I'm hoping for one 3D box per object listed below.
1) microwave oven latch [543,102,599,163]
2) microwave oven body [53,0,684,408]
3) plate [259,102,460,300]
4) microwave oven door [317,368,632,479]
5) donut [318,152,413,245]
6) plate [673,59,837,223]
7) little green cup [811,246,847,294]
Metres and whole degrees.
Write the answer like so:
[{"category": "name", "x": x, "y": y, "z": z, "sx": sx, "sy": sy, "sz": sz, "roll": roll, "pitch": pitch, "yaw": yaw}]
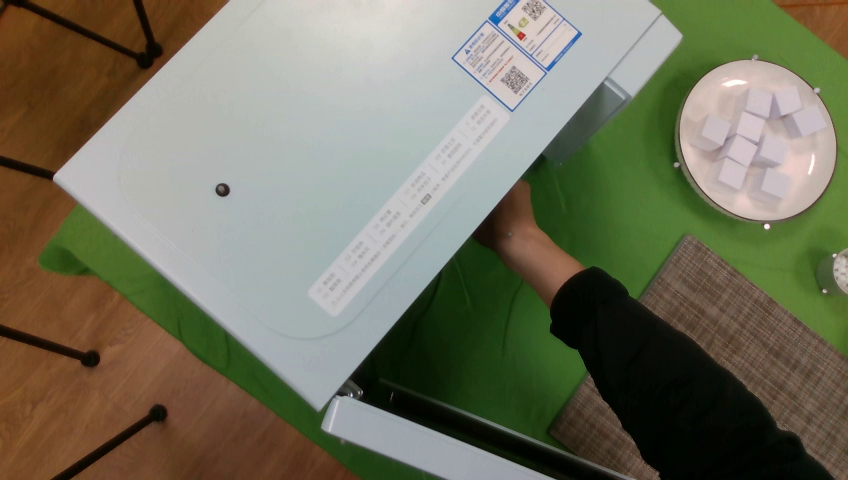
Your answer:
[{"category": "microwave oven latch", "x": 0.172, "y": -0.131, "z": 0.724, "sx": 0.030, "sy": 0.029, "sz": 0.079, "roll": 44, "pitch": 82, "yaw": 1}, {"category": "microwave oven body", "x": -0.048, "y": -0.109, "z": 0.605, "sx": 0.326, "sy": 0.260, "sz": 0.441, "roll": 41, "pitch": 82, "yaw": 1}, {"category": "plate", "x": -0.067, "y": -0.040, "z": 0.641, "sx": 0.209, "sy": 0.038, "sz": 0.208, "roll": 0, "pitch": 85, "yaw": -1}, {"category": "microwave oven door", "x": 0.079, "y": 0.208, "z": 0.574, "sx": 0.356, "sy": 0.244, "sz": 0.039, "roll": 22, "pitch": 81, "yaw": -2}, {"category": "donut", "x": -0.061, "y": -0.042, "z": 0.631, "sx": 0.099, "sy": 0.048, "sz": 0.099, "roll": 0, "pitch": 85, "yaw": -1}, {"category": "plate", "x": 0.409, "y": -0.122, "z": 0.762, "sx": 0.208, "sy": 0.039, "sz": 0.207, "roll": 1, "pitch": 83, "yaw": -5}, {"category": "little green cup", "x": 0.518, "y": 0.039, "z": 0.752, "sx": 0.061, "sy": 0.038, "sz": 0.061, "roll": 1, "pitch": 82, "yaw": -5}]
